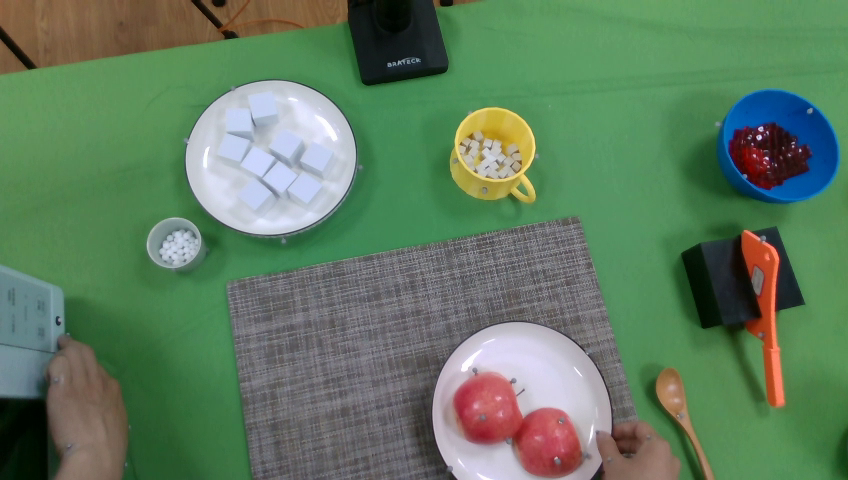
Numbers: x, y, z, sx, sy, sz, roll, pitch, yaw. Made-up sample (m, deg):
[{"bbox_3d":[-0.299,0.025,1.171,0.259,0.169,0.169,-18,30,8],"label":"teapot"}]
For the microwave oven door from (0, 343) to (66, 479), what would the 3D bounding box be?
[{"bbox_3d":[-0.386,0.266,0.526,0.039,0.244,0.354,-8,76,-6],"label":"microwave oven door"}]

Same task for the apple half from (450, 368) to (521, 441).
[{"bbox_3d":[0.070,0.186,0.683,0.075,0.053,0.080,-14,77,-4],"label":"apple half"}]

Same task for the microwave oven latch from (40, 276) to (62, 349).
[{"bbox_3d":[-0.423,0.082,0.675,0.030,0.029,0.078,-7,77,-6],"label":"microwave oven latch"}]

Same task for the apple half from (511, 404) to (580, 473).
[{"bbox_3d":[0.140,0.226,0.686,0.081,0.033,0.081,1,72,-2],"label":"apple half"}]

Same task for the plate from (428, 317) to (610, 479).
[{"bbox_3d":[0.107,0.194,0.699,0.209,0.038,0.208,1,76,-4],"label":"plate"}]

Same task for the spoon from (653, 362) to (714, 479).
[{"bbox_3d":[0.315,0.239,0.714,0.042,0.021,0.192,-14,76,-29],"label":"spoon"}]

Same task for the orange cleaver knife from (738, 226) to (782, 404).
[{"bbox_3d":[0.401,0.089,0.727,0.012,0.077,0.212,-10,100,-2],"label":"orange cleaver knife"}]

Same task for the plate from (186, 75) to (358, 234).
[{"bbox_3d":[-0.187,-0.105,0.759,0.208,0.039,0.206,1,76,-3],"label":"plate"}]

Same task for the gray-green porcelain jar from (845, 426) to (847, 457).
[{"bbox_3d":[0.555,0.237,0.677,0.106,0.127,0.105,1,75,-3],"label":"gray-green porcelain jar"}]

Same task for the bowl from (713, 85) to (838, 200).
[{"bbox_3d":[0.436,-0.114,0.783,0.151,0.077,0.150,1,76,-3],"label":"bowl"}]

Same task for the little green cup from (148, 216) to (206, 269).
[{"bbox_3d":[-0.292,0.005,0.722,0.061,0.039,0.061,1,76,-5],"label":"little green cup"}]

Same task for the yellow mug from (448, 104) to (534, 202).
[{"bbox_3d":[0.093,-0.100,0.763,0.100,0.064,0.130,-39,82,-13],"label":"yellow mug"}]

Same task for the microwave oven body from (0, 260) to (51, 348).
[{"bbox_3d":[-0.537,0.245,0.526,0.326,0.261,0.439,-8,77,-6],"label":"microwave oven body"}]
